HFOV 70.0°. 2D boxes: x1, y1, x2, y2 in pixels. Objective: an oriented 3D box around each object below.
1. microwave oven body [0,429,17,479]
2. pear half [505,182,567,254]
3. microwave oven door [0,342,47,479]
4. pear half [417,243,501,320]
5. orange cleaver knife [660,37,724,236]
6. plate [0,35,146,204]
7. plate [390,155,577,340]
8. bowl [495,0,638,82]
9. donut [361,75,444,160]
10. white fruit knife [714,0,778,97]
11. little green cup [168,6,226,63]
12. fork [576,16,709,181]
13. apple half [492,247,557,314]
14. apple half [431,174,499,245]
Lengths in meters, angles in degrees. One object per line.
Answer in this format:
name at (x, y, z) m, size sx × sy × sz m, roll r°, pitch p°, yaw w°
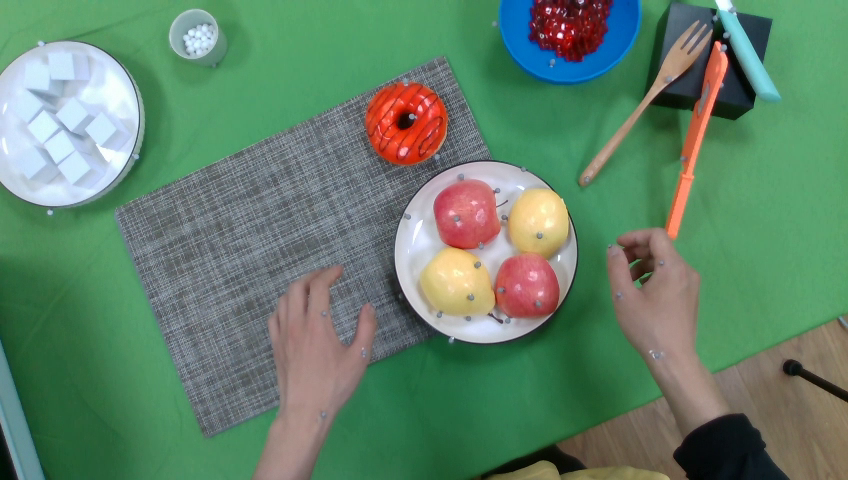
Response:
microwave oven body at (-0.645, 0.257, 0.630) m, size 0.326 × 0.260 × 0.440 m, roll -22°, pitch 86°, yaw 3°
pear half at (0.120, -0.020, 0.674) m, size 0.070 × 0.031 × 0.088 m, roll 9°, pitch 102°, yaw 30°
microwave oven door at (-0.495, 0.242, 0.612) m, size 0.039 × 0.244 × 0.355 m, roll -22°, pitch 85°, yaw 4°
pear half at (0.045, 0.053, 0.677) m, size 0.110 × 0.056 × 0.076 m, roll 38°, pitch 96°, yaw 2°
orange cleaver knife at (0.289, -0.110, 0.659) m, size 0.012 × 0.077 × 0.212 m, roll 12°, pitch 114°, yaw 11°
plate at (-0.439, -0.146, 0.748) m, size 0.207 × 0.039 × 0.207 m, roll 0°, pitch 87°, yaw 5°
plate at (0.067, 0.009, 0.691) m, size 0.209 × 0.038 × 0.208 m, roll 0°, pitch 87°, yaw 5°
bowl at (0.154, -0.243, 0.681) m, size 0.151 × 0.077 × 0.151 m, roll 0°, pitch 87°, yaw 5°
donut at (-0.025, -0.142, 0.704) m, size 0.099 × 0.048 × 0.099 m, roll 0°, pitch 88°, yaw 8°
white fruit knife at (0.323, -0.244, 0.647) m, size 0.027 × 0.016 × 0.206 m, roll -20°, pitch 82°, yaw -25°
little green cup at (-0.274, -0.247, 0.739) m, size 0.061 × 0.039 × 0.061 m, roll 0°, pitch 87°, yaw 6°
fork at (0.233, -0.148, 0.664) m, size 0.028 × 0.018 × 0.208 m, roll 34°, pitch 111°, yaw -2°
apple half at (0.104, 0.047, 0.667) m, size 0.081 × 0.033 × 0.081 m, roll 2°, pitch 95°, yaw 30°
apple half at (0.045, -0.034, 0.678) m, size 0.074 × 0.053 × 0.081 m, roll -7°, pitch 90°, yaw 5°
